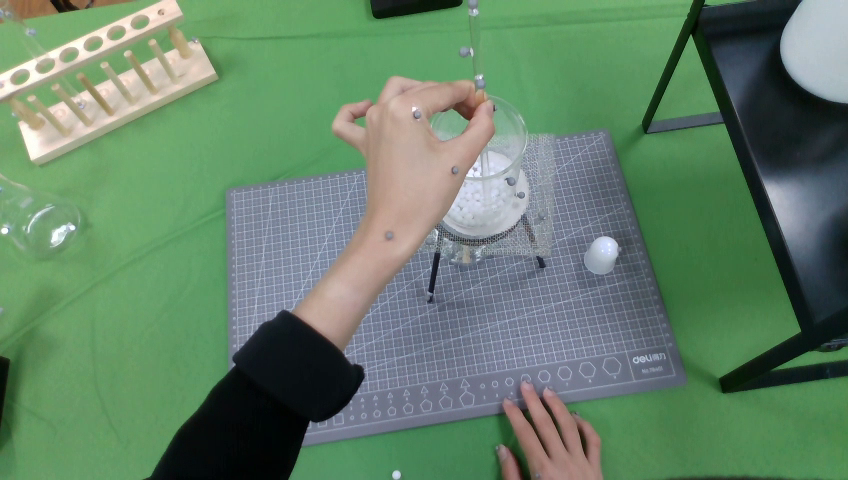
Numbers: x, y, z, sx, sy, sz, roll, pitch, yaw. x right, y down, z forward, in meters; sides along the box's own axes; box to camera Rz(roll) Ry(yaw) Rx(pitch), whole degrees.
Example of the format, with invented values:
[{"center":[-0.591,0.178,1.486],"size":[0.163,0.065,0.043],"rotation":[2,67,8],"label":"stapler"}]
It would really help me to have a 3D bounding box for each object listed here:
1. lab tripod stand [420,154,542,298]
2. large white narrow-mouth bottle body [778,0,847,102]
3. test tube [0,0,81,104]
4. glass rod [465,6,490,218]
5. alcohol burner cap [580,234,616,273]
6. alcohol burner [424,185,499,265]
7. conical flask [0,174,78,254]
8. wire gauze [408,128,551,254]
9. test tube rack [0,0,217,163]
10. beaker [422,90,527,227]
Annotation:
[{"center":[0.050,-0.014,0.595],"size":[0.148,0.132,0.147],"rotation":[-1,66,2],"label":"lab tripod stand"},{"center":[0.340,-0.190,0.426],"size":[0.102,0.196,0.101],"rotation":[-2,67,5],"label":"large white narrow-mouth bottle body"},{"center":[-0.433,-0.208,0.683],"size":[0.017,0.151,0.017],"rotation":[-2,61,3],"label":"test tube"},{"center":[0.039,-0.077,0.430],"size":[0.008,0.201,0.008],"rotation":[-4,55,6],"label":"glass rod"},{"center":[0.181,0.011,0.626],"size":[0.034,0.048,0.033],"rotation":[-1,67,4],"label":"alcohol burner cap"},{"center":[0.038,-0.021,0.610],"size":[0.078,0.120,0.077],"rotation":[-1,65,2],"label":"alcohol burner"},{"center":[-0.439,-0.040,0.647],"size":[0.075,0.123,0.075],"rotation":[-1,67,4],"label":"conical flask"},{"center":[0.051,-0.045,0.536],"size":[0.121,0.011,0.124],"rotation":[4,66,3],"label":"wire gauze"},{"center":[-0.387,-0.192,0.727],"size":[0.242,0.086,0.066],"rotation":[-29,68,-8],"label":"test tube rack"},{"center":[0.038,-0.058,0.490],"size":[0.084,0.101,0.073],"rotation":[-31,69,-9],"label":"beaker"}]
